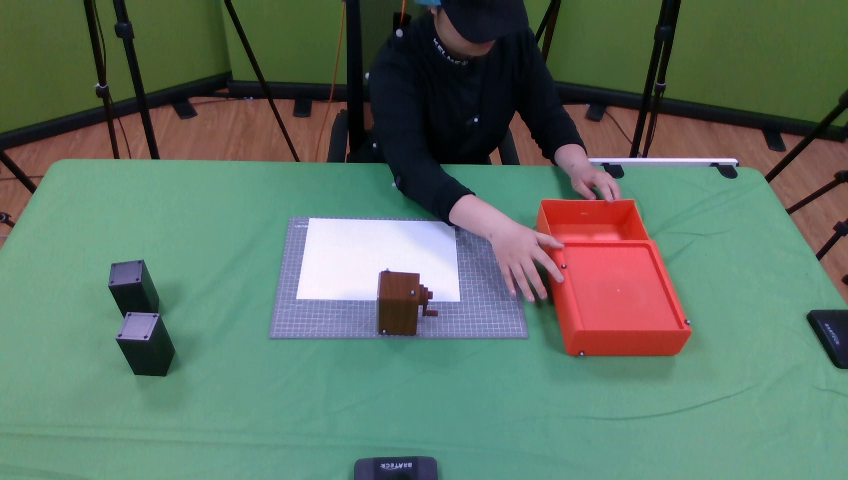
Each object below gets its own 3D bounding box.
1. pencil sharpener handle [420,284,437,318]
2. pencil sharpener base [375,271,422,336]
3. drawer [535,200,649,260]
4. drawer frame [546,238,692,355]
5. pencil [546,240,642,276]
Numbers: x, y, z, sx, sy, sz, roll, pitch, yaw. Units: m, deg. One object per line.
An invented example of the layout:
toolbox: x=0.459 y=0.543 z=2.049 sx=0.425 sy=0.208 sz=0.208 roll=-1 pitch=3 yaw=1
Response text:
pencil sharpener handle: x=0.009 y=0.104 z=1.016 sx=0.030 sy=0.068 sz=0.036 roll=3 pitch=38 yaw=-2
pencil sharpener base: x=-0.042 y=0.109 z=1.025 sx=0.077 sy=0.107 sz=0.061 roll=3 pitch=45 yaw=-2
drawer: x=0.333 y=0.016 z=1.170 sx=0.195 sy=0.073 sz=0.210 roll=0 pitch=47 yaw=-5
drawer frame: x=0.338 y=0.097 z=1.085 sx=0.202 sy=0.083 sz=0.212 roll=0 pitch=46 yaw=-4
pencil: x=0.332 y=0.036 z=1.188 sx=0.193 sy=0.012 sz=0.012 roll=21 pitch=48 yaw=13
